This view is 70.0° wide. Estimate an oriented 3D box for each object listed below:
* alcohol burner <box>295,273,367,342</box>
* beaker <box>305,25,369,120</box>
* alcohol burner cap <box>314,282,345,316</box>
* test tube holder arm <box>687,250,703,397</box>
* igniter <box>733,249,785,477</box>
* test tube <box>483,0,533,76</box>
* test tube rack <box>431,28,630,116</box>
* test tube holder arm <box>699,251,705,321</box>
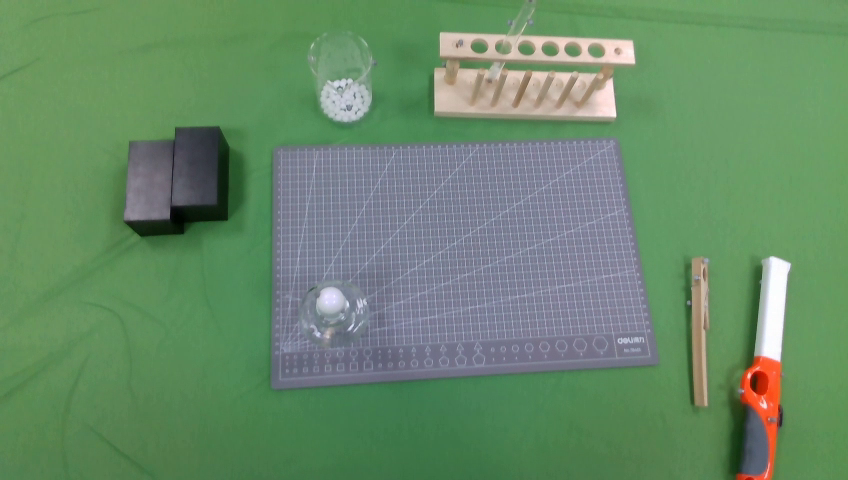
[{"bbox_3d":[-0.100,0.068,0.651,0.078,0.119,0.077,2,70,-5],"label":"alcohol burner"},{"bbox_3d":[-0.104,-0.199,0.747,0.074,0.100,0.083,0,72,-5],"label":"beaker"},{"bbox_3d":[-0.098,0.059,0.617,0.034,0.048,0.033,1,77,-5],"label":"alcohol burner cap"},{"bbox_3d":[0.326,0.098,0.729,0.013,0.015,0.177,18,70,-31],"label":"test tube holder arm"},{"bbox_3d":[0.399,0.142,0.718,0.057,0.025,0.275,19,72,-9],"label":"igniter"},{"bbox_3d":[0.098,-0.244,0.733,0.017,0.150,0.017,3,73,-11],"label":"test tube"},{"bbox_3d":[0.132,-0.213,0.779,0.243,0.085,0.066,1,72,-4],"label":"test tube rack"},{"bbox_3d":[0.337,0.057,0.746,0.010,0.015,0.087,19,69,-30],"label":"test tube holder arm"}]
